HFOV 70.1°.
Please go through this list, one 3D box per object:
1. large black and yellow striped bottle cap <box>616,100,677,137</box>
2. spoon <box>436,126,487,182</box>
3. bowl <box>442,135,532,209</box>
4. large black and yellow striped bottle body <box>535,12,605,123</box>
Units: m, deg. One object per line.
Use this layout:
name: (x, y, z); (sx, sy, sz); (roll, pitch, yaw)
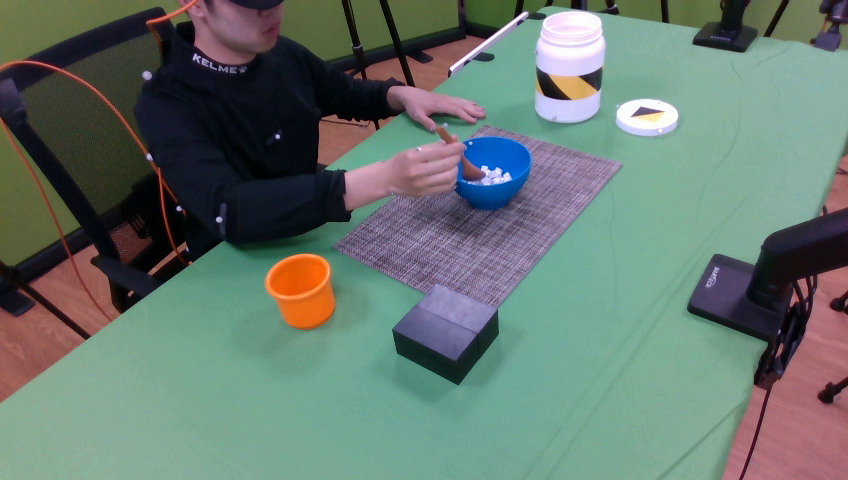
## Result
large black and yellow striped bottle cap: (0.438, -0.241, 1.190); (0.115, 0.019, 0.114); (-4, 42, 4)
spoon: (0.055, -0.129, 0.924); (0.041, 0.195, 0.021); (-9, 67, 21)
bowl: (0.108, -0.106, 1.026); (0.151, 0.077, 0.150); (-4, 41, 4)
large black and yellow striped bottle body: (0.287, -0.341, 1.197); (0.131, 0.185, 0.130); (-4, 41, 4)
